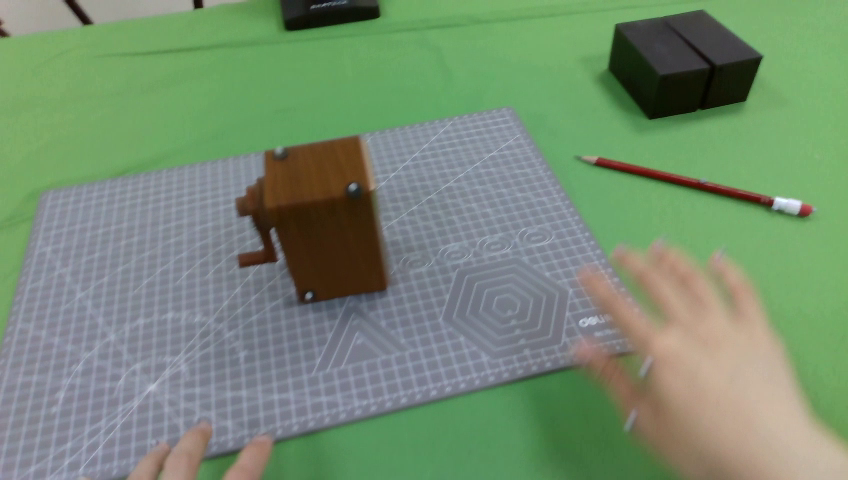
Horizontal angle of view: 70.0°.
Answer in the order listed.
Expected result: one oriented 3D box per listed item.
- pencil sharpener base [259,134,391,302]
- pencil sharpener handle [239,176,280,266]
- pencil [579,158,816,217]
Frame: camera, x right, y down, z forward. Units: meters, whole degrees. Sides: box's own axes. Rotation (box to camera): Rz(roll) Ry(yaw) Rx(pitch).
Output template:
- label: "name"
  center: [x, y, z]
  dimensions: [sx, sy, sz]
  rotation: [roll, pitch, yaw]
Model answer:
- label: "pencil sharpener base"
  center: [-0.068, -0.012, 0.433]
  dimensions: [0.077, 0.108, 0.060]
  rotation: [-10, 47, -5]
- label: "pencil sharpener handle"
  center: [-0.118, -0.010, 0.417]
  dimensions: [0.031, 0.068, 0.035]
  rotation: [-10, 37, -5]
- label: "pencil"
  center: [0.229, -0.049, 0.524]
  dimensions: [0.193, 0.012, 0.012]
  rotation: [17, 50, 20]
